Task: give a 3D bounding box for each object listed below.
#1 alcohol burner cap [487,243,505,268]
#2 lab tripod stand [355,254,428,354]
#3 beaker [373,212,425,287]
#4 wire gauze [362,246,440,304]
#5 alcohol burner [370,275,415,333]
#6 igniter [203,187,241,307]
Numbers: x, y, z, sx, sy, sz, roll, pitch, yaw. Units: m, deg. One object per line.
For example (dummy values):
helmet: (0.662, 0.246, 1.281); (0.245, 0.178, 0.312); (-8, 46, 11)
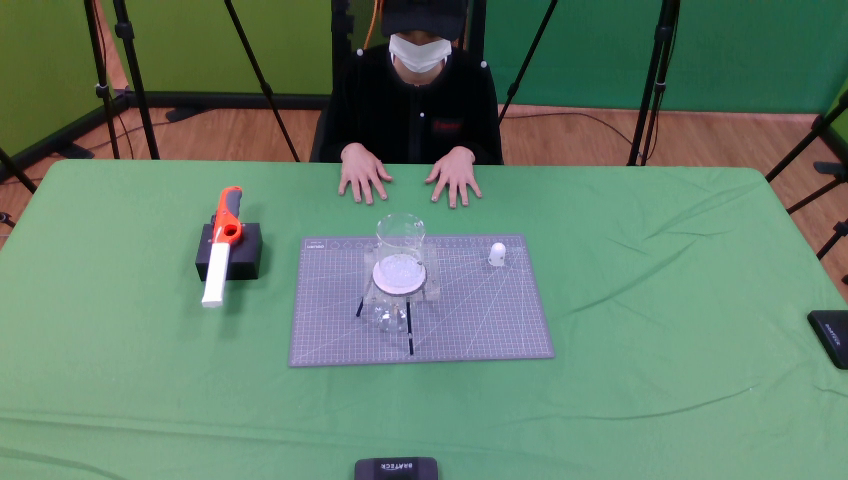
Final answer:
alcohol burner cap: (0.141, 0.027, 1.166); (0.034, 0.048, 0.033); (2, 45, -2)
lab tripod stand: (-0.046, 0.100, 1.017); (0.148, 0.132, 0.147); (1, 47, -1)
beaker: (-0.036, 0.019, 0.936); (0.074, 0.101, 0.083); (-29, 54, -26)
wire gauze: (-0.038, 0.052, 0.972); (0.121, 0.011, 0.124); (0, 44, -5)
alcohol burner: (-0.054, 0.103, 1.026); (0.078, 0.120, 0.077); (1, 44, -1)
igniter: (-0.365, 0.003, 1.098); (0.057, 0.025, 0.274); (-1, 49, -7)
